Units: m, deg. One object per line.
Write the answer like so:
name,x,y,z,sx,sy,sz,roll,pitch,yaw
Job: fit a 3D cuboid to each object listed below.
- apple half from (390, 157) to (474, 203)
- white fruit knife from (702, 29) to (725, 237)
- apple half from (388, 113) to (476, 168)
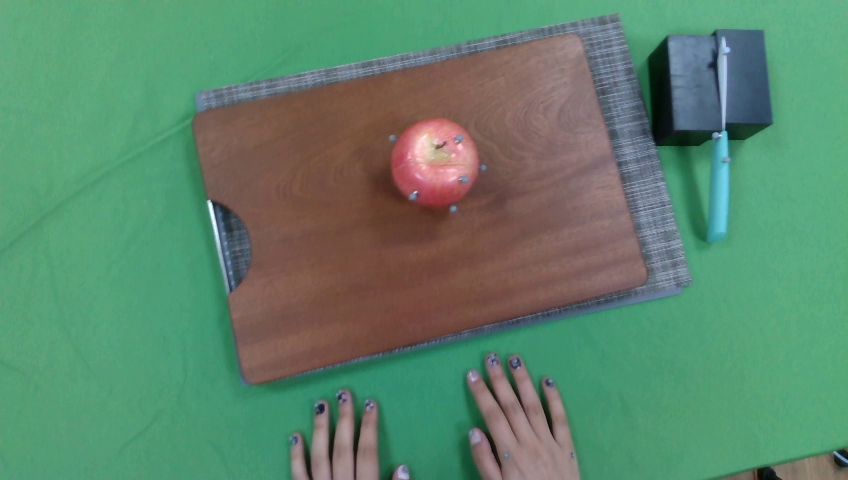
apple half,0.007,-0.050,0.558,0.081,0.081,0.032,0,78,-3
white fruit knife,0.292,-0.105,0.609,0.016,0.027,0.207,-3,97,-5
apple half,0.007,-0.088,0.564,0.081,0.075,0.053,0,78,1
